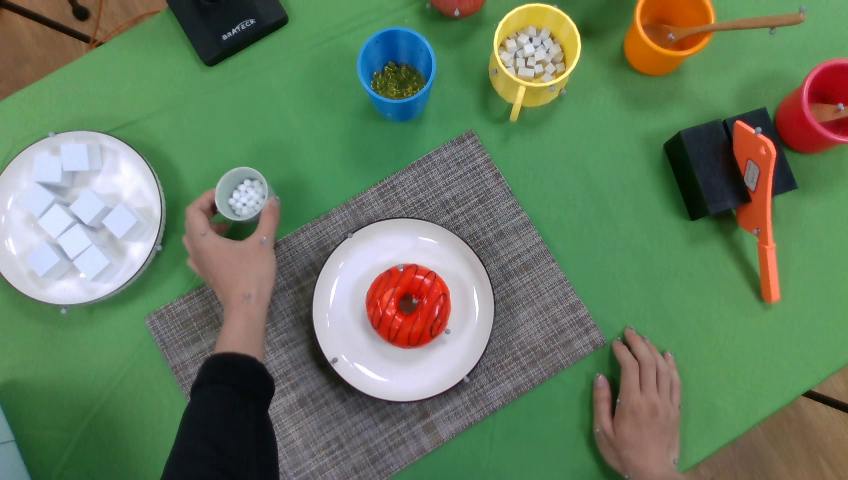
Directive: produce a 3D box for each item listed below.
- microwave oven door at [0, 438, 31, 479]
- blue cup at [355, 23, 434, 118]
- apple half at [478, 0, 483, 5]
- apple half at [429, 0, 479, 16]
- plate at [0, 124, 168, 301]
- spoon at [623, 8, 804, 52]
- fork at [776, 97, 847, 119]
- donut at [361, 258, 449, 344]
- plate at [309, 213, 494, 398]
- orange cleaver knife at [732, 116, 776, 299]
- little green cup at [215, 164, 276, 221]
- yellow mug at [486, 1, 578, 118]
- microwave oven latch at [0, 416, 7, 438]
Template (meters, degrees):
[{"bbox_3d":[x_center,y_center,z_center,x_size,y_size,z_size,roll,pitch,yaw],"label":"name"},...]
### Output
[{"bbox_3d":[-0.393,0.364,0.540,0.039,0.244,0.354,-28,83,-4],"label":"microwave oven door"},{"bbox_3d":[-0.032,-0.185,0.698,0.093,0.100,0.092,0,83,-1],"label":"blue cup"},{"bbox_3d":[0.062,-0.324,0.728,0.033,0.081,0.081,-25,82,0],"label":"apple half"},{"bbox_3d":[0.027,-0.307,0.727,0.053,0.075,0.080,-25,86,0],"label":"apple half"},{"bbox_3d":[-0.401,-0.031,0.713,0.208,0.039,0.207,0,83,1],"label":"plate"},{"bbox_3d":[0.315,-0.239,0.678,0.022,0.192,0.041,24,81,-41],"label":"spoon"},{"bbox_3d":[0.502,-0.146,0.666,0.205,0.019,0.028,13,69,45],"label":"fork"},{"bbox_3d":[-0.021,0.069,0.682,0.099,0.048,0.099,0,83,2],"label":"donut"},{"bbox_3d":[-0.025,0.073,0.693,0.209,0.038,0.208,0,83,1],"label":"plate"},{"bbox_3d":[0.371,-0.034,0.685,0.012,0.076,0.213,-16,112,1],"label":"orange cleaver knife"},{"bbox_3d":[-0.200,-0.051,0.686,0.061,0.039,0.061,-2,79,9],"label":"little green cup"},{"bbox_3d":[0.121,-0.207,0.717,0.100,0.064,0.130,17,84,2],"label":"yellow mug"},{"bbox_3d":[-0.492,0.186,0.667,0.030,0.029,0.079,-25,84,-3],"label":"microwave oven latch"}]
